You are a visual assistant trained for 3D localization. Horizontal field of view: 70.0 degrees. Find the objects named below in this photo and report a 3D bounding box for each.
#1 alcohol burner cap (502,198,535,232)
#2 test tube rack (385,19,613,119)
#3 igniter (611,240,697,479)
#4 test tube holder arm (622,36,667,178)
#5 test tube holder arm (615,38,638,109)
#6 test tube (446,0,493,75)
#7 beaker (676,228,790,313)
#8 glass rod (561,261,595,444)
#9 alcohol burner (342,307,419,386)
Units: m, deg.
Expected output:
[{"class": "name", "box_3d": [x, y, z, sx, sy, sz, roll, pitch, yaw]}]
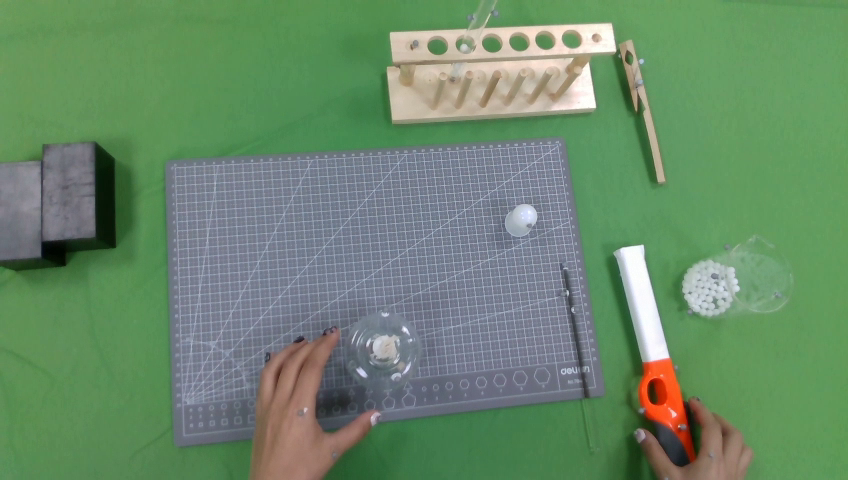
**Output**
[{"class": "alcohol burner cap", "box_3d": [0.107, -0.030, 0.670, 0.034, 0.048, 0.033, 1, 79, -6]}, {"class": "test tube rack", "box_3d": [0.081, -0.190, 0.679, 0.243, 0.085, 0.066, -5, 79, -7]}, {"class": "igniter", "box_3d": [0.252, 0.136, 0.664, 0.057, 0.025, 0.275, -7, 80, -18]}, {"class": "test tube holder arm", "box_3d": [0.264, -0.161, 0.727, 0.013, 0.015, 0.177, -18, 80, 26]}, {"class": "test tube holder arm", "box_3d": [0.249, -0.202, 0.736, 0.010, 0.015, 0.087, -17, 80, 26]}, {"class": "test tube", "box_3d": [0.046, -0.214, 0.629, 0.017, 0.150, 0.017, 3, 74, -11]}, {"class": "beaker", "box_3d": [0.328, 0.038, 0.656, 0.074, 0.100, 0.083, 9, 77, -4]}, {"class": "glass rod", "box_3d": [0.168, 0.121, 0.664, 0.008, 0.008, 0.199, -5, 79, -8]}, {"class": "alcohol burner", "box_3d": [-0.042, 0.102, 0.590, 0.078, 0.119, 0.077, 1, 76, -5]}]
